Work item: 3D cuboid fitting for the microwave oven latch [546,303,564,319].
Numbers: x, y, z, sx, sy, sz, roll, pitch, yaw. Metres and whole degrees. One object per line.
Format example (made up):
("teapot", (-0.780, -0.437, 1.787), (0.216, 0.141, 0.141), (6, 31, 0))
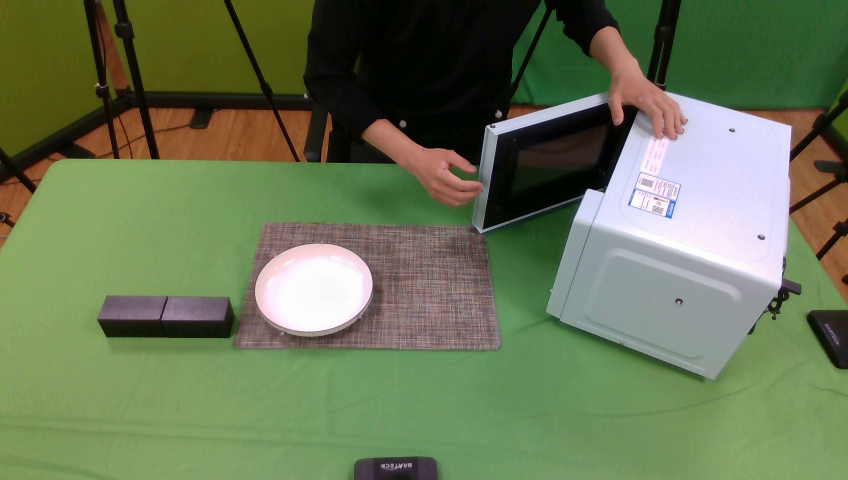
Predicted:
("microwave oven latch", (0.242, 0.102, 1.081), (0.030, 0.029, 0.079), (22, 48, 17))

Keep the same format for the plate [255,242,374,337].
("plate", (-0.192, 0.090, 1.079), (0.208, 0.039, 0.206), (2, 46, -2))

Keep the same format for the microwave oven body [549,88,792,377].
("microwave oven body", (0.456, -0.028, 1.088), (0.325, 0.261, 0.440), (20, 47, 16))

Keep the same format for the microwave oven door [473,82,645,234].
("microwave oven door", (0.266, -0.163, 1.196), (0.356, 0.245, 0.039), (-20, 49, -21))
